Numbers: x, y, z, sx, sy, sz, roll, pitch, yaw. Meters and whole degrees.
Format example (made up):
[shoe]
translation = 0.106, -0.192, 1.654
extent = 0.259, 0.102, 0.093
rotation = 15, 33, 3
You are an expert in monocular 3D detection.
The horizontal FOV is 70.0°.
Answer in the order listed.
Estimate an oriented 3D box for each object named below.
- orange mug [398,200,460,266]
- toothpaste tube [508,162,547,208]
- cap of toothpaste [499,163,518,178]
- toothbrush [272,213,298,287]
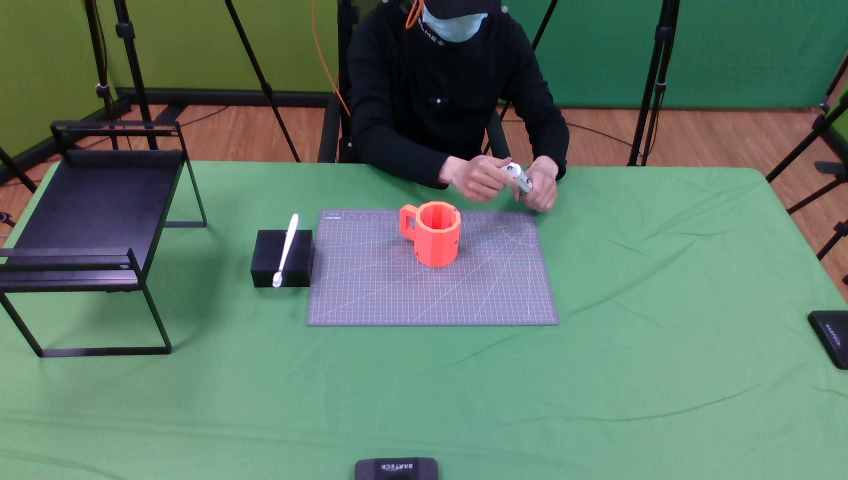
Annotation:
[orange mug]
translation = 0.007, -0.020, 1.161
extent = 0.126, 0.101, 0.083
rotation = 27, 50, 15
[toothpaste tube]
translation = 0.204, -0.112, 1.223
extent = 0.034, 0.166, 0.054
rotation = -43, 53, 10
[cap of toothpaste]
translation = 0.160, -0.133, 1.146
extent = 0.037, 0.037, 0.011
rotation = 0, 50, -4
[toothbrush]
translation = -0.252, 0.012, 1.104
extent = 0.014, 0.017, 0.181
rotation = 1, 46, 2
